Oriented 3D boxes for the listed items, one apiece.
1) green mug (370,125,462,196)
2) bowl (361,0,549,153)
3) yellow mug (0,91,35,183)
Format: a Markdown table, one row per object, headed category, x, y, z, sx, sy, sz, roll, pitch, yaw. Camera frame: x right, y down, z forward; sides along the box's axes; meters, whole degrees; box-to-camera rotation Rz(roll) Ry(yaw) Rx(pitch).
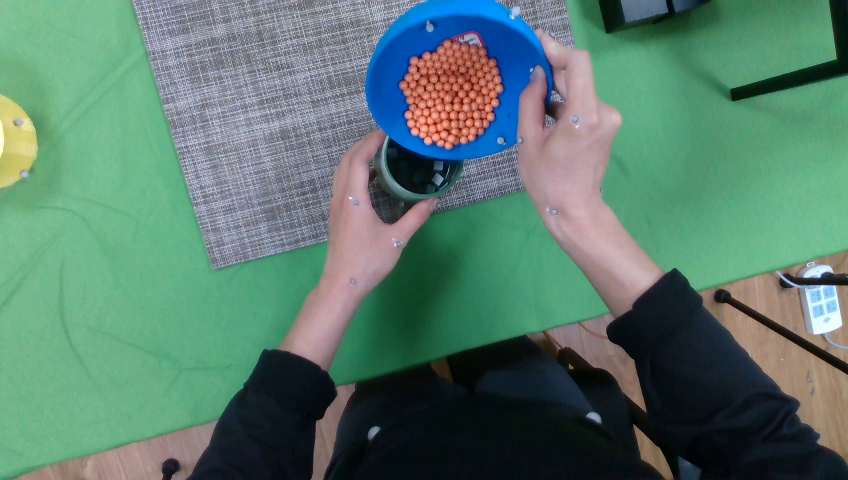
| category | x | y | z | sx | sy | sz | roll | pitch | yaw |
| --- | --- | --- | --- | --- | --- | --- | --- | --- | --- |
| green mug | -0.007 | -0.108 | 0.621 | 0.093 | 0.104 | 0.125 | 2 | 96 | -7 |
| bowl | 0.025 | -0.152 | 0.505 | 0.152 | 0.152 | 0.076 | 7 | 55 | -8 |
| yellow mug | -0.450 | -0.088 | 0.586 | 0.100 | 0.064 | 0.131 | 18 | 94 | -10 |
